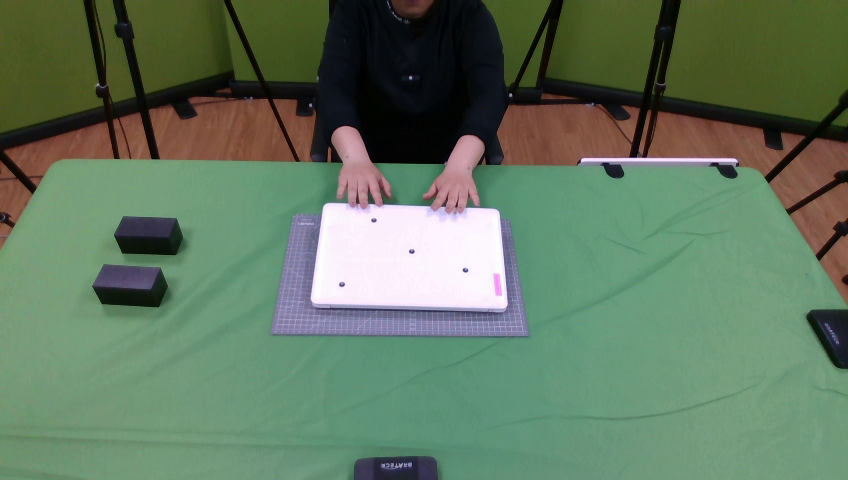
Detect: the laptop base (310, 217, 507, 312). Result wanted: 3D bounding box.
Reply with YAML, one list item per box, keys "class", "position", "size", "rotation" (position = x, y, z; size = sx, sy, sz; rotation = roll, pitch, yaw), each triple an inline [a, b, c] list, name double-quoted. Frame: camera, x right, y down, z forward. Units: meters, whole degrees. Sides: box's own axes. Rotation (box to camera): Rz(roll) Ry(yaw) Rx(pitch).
- class: "laptop base"
  position: [-0.028, 0.045, 1.154]
  size: [0.354, 0.023, 0.234]
  rotation: [2, 43, -3]

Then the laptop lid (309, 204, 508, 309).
- class: "laptop lid"
  position: [-0.026, 0.025, 1.133]
  size: [0.357, 0.013, 0.240]
  rotation: [3, 52, -1]
